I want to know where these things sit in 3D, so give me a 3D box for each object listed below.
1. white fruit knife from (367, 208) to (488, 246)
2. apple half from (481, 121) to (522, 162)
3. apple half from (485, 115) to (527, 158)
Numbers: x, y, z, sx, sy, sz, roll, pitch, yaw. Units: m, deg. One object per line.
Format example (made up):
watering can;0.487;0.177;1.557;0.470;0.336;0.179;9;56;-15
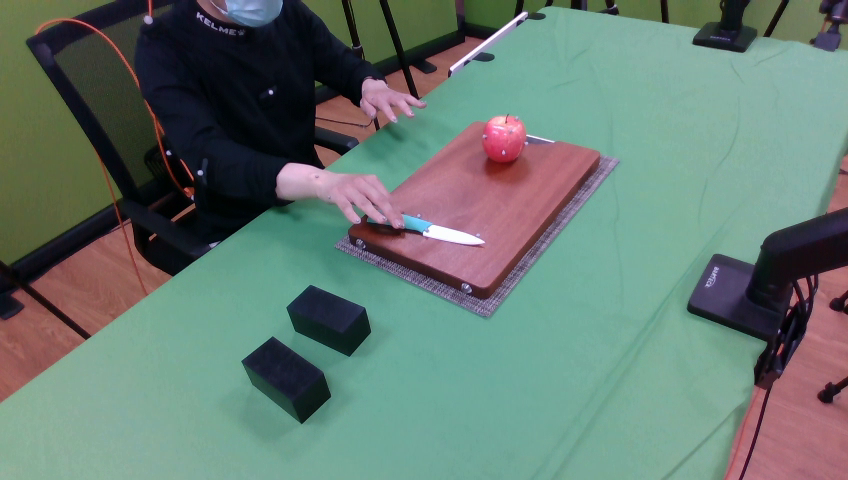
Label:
white fruit knife;0.003;-0.019;0.952;0.206;0.016;0.027;15;73;21
apple half;0.130;-0.165;1.057;0.081;0.081;0.033;16;42;25
apple half;0.149;-0.188;1.082;0.080;0.075;0.053;13;40;28
